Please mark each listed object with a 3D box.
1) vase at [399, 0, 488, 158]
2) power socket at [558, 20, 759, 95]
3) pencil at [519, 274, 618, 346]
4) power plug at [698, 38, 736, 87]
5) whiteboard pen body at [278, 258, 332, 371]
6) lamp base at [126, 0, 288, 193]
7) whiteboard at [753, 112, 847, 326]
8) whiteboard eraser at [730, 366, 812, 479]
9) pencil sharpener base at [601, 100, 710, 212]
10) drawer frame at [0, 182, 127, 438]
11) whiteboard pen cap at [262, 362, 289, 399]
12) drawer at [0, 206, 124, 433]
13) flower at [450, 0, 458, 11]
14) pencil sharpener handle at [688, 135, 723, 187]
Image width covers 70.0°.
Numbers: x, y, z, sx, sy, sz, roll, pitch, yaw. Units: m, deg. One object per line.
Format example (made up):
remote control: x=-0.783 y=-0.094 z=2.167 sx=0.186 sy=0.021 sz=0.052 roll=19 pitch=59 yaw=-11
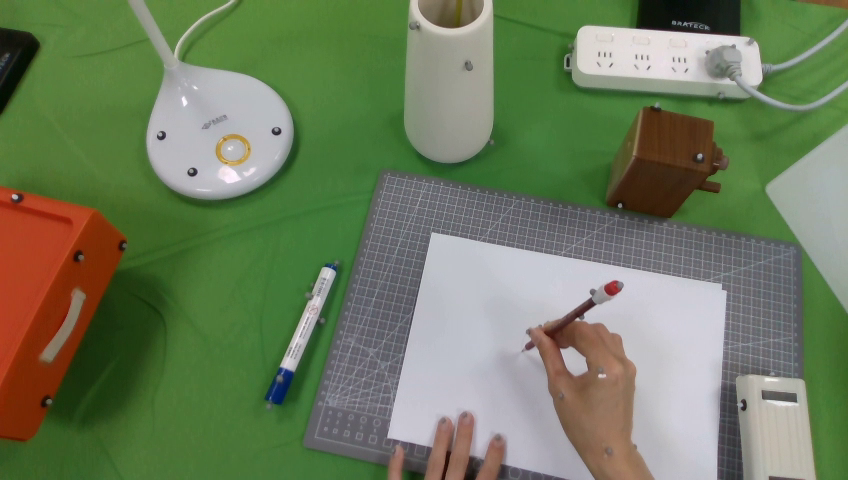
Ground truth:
vase: x=0.019 y=-0.165 z=0.596 sx=0.098 sy=0.201 sz=0.097 roll=-1 pitch=67 yaw=2
power socket: x=0.272 y=-0.212 z=0.702 sx=0.227 sy=0.033 sz=0.071 roll=5 pitch=69 yaw=2
pencil: x=0.111 y=0.064 z=0.502 sx=0.012 sy=0.195 sz=0.012 roll=4 pitch=66 yaw=-10
power plug: x=0.319 y=-0.190 z=0.668 sx=0.035 sy=0.053 sz=0.072 roll=15 pitch=70 yaw=7
whiteboard pen body: x=-0.119 y=0.080 z=0.592 sx=0.017 sy=0.017 sz=0.140 roll=15 pitch=65 yaw=7
lamp base: x=-0.242 y=-0.161 z=0.606 sx=0.160 sy=0.181 sz=0.178 roll=-42 pitch=70 yaw=-15
whiteboard: x=0.502 y=-0.057 z=0.524 sx=0.144 sy=0.307 sz=0.215 roll=-12 pitch=66 yaw=-25
whiteboard eraser: x=0.307 y=0.171 z=0.540 sx=0.055 sy=0.042 sz=0.112 roll=6 pitch=68 yaw=1
pencil sharpener base: x=0.231 y=-0.081 z=0.610 sx=0.076 sy=0.108 sz=0.061 roll=13 pitch=68 yaw=6
drawer frame: x=-0.416 y=0.045 z=0.532 sx=0.213 sy=0.083 sz=0.200 roll=14 pitch=69 yaw=4
whiteboard pen cap: x=-0.138 y=0.131 z=0.568 sx=0.018 sy=0.018 sz=0.033 roll=16 pitch=63 yaw=7
drawer: x=-0.410 y=0.045 z=0.531 sx=0.211 sy=0.074 sz=0.193 roll=13 pitch=70 yaw=6
flower: x=0.027 y=-0.212 z=0.527 sx=0.038 sy=0.364 sz=0.043 roll=-1 pitch=49 yaw=-7
pencil sharpener handle: x=0.281 y=-0.074 z=0.594 sx=0.030 sy=0.068 sz=0.036 roll=13 pitch=67 yaw=6
